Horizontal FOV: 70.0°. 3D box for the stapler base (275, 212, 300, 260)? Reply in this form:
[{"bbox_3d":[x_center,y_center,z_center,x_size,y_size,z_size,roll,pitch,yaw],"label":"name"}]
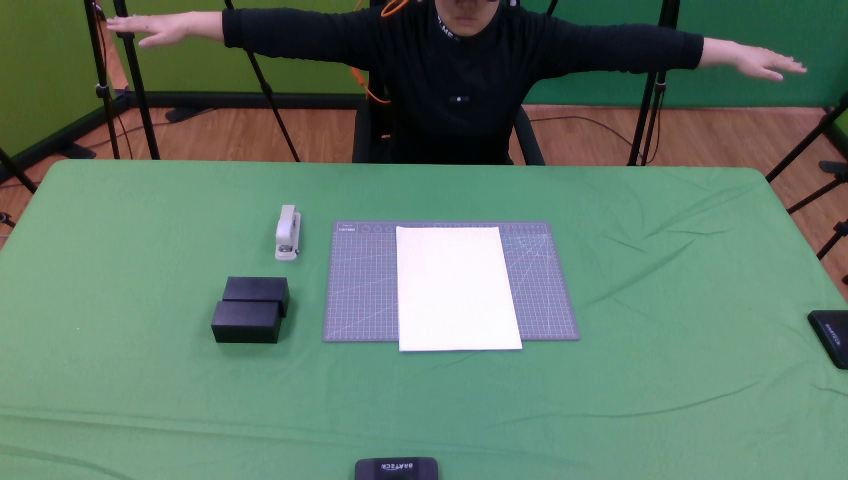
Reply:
[{"bbox_3d":[-0.268,-0.016,1.190,0.041,0.024,0.129,0,44,-7],"label":"stapler base"}]

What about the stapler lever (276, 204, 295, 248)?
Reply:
[{"bbox_3d":[-0.268,-0.034,1.174,0.027,0.040,0.117,0,45,-7],"label":"stapler lever"}]
